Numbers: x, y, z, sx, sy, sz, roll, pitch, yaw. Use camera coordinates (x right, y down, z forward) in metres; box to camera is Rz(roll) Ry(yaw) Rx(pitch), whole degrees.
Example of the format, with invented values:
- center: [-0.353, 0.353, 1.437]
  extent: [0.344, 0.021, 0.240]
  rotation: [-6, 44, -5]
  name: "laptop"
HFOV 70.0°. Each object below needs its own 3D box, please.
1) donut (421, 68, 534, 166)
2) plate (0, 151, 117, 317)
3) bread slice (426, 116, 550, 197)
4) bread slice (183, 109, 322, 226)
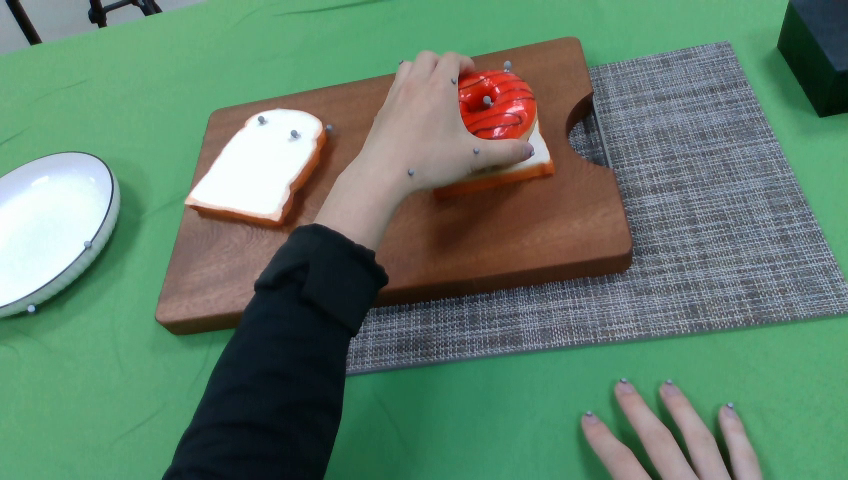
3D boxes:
- center: [0.045, -0.106, 0.515]
  extent: [0.099, 0.049, 0.098]
  rotation: [-9, 55, 13]
  name: "donut"
- center: [-0.414, -0.005, 0.635]
  extent: [0.209, 0.038, 0.207]
  rotation: [-8, 54, 11]
  name: "plate"
- center: [0.049, -0.101, 0.548]
  extent: [0.105, 0.019, 0.130]
  rotation: [-12, 54, 6]
  name: "bread slice"
- center: [-0.159, -0.074, 0.587]
  extent: [0.106, 0.018, 0.133]
  rotation: [8, 59, 20]
  name: "bread slice"
